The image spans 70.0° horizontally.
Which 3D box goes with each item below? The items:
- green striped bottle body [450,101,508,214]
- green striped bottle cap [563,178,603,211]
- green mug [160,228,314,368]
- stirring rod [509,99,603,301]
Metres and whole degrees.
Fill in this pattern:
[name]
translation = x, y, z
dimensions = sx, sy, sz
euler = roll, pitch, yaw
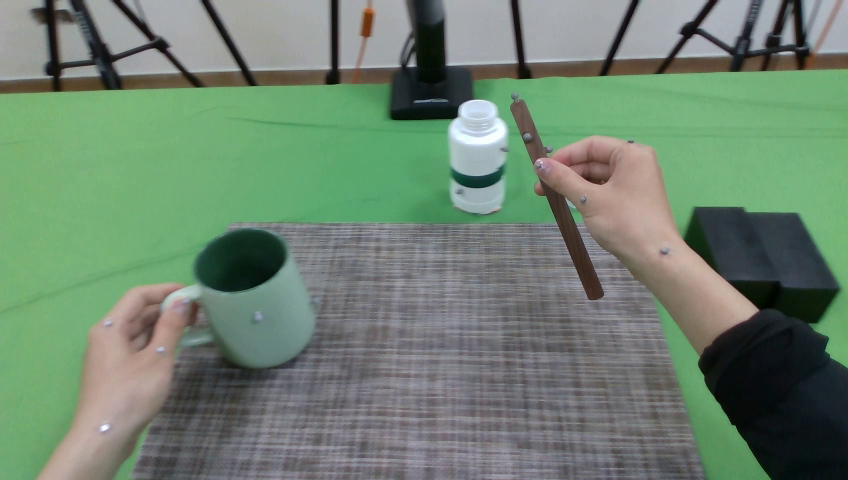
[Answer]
[green striped bottle body]
translation = 0.060, -0.092, 0.671
dimensions = 0.063, 0.120, 0.062
euler = -1, 44, 2
[green striped bottle cap]
translation = 0.184, -0.053, 0.699
dimensions = 0.044, 0.020, 0.044
euler = -1, 40, 1
[green mug]
translation = -0.165, 0.058, 0.534
dimensions = 0.125, 0.106, 0.091
euler = -20, 47, -16
[stirring rod]
translation = 0.107, -0.033, 0.493
dimensions = 0.014, 0.006, 0.176
euler = -22, 88, 9
